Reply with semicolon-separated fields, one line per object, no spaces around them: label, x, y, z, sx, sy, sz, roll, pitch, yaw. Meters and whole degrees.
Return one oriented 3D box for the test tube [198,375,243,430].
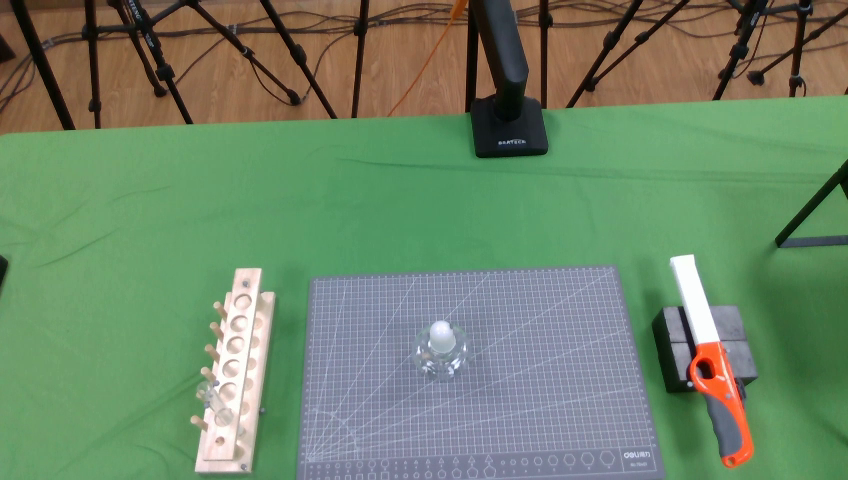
test tube;-0.231;0.189;0.695;0.017;0.151;0.017;1;56;-1

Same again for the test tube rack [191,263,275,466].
test tube rack;-0.247;0.155;0.772;0.067;0.086;0.240;0;60;0

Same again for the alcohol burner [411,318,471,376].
alcohol burner;0.021;0.129;0.768;0.078;0.120;0.077;0;61;1

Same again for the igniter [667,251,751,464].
igniter;0.355;0.138;0.763;0.057;0.025;0.274;-8;59;8

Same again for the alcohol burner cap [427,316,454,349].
alcohol burner cap;0.020;0.110;0.737;0.034;0.048;0.033;-1;59;3
